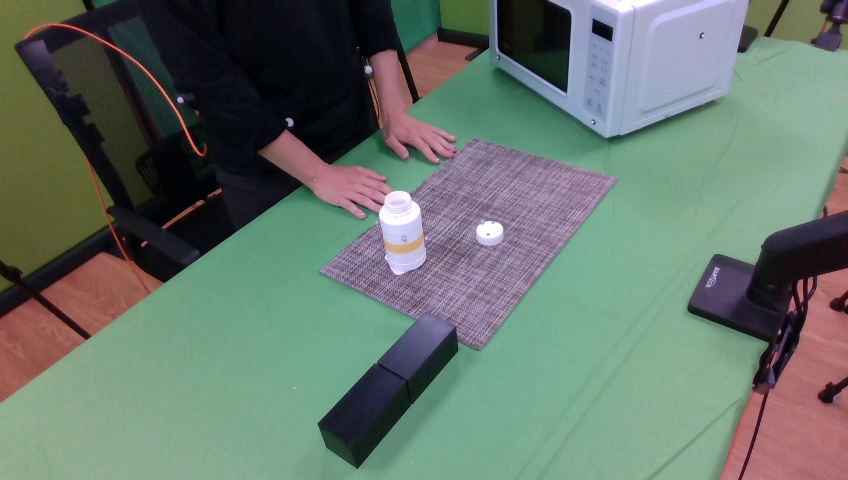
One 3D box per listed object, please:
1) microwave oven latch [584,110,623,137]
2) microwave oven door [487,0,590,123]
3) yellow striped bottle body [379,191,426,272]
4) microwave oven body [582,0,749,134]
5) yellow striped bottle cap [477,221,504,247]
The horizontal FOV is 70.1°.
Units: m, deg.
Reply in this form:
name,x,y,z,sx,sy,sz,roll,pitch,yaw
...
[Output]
name,x,y,z,sx,sy,sz,roll,pitch,yaw
microwave oven latch,0.337,-0.222,1.142,0.030,0.029,0.078,-21,42,-14
microwave oven door,0.232,-0.420,1.231,0.039,0.245,0.352,-22,43,-16
yellow striped bottle body,-0.033,-0.016,0.910,0.063,0.121,0.062,-4,41,4
microwave oven body,0.382,-0.444,1.246,0.327,0.261,0.437,-22,42,-16
yellow striped bottle cap,0.106,-0.010,0.966,0.044,0.019,0.044,-4,39,3
